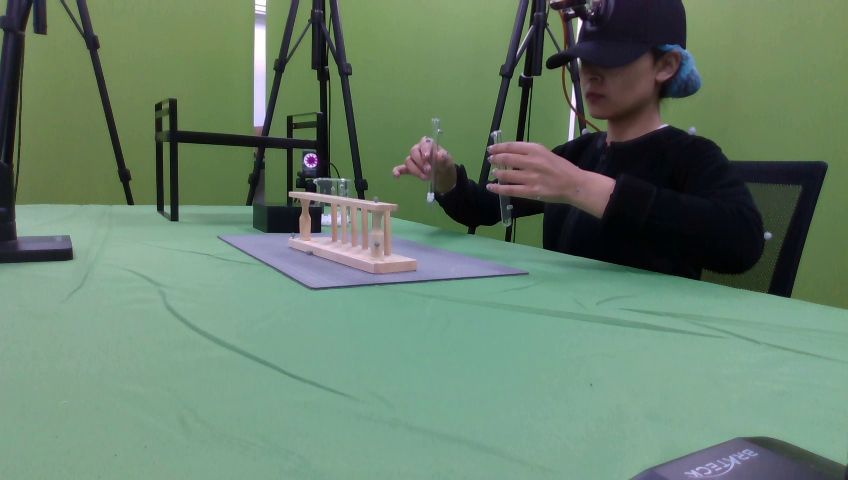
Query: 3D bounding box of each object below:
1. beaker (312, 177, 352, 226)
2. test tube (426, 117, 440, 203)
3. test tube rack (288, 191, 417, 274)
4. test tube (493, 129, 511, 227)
[{"bbox_3d":[-0.194,-0.081,1.266,0.084,0.100,0.073,-3,9,-29],"label":"beaker"},{"bbox_3d":[0.015,-0.138,1.052,0.017,0.150,0.017,4,18,-1],"label":"test tube"},{"bbox_3d":[-0.106,-0.017,0.835,0.067,0.085,0.241,-3,9,-37],"label":"test tube rack"},{"bbox_3d":[0.120,-0.095,0.930,0.017,0.150,0.017,-6,7,1],"label":"test tube"}]
